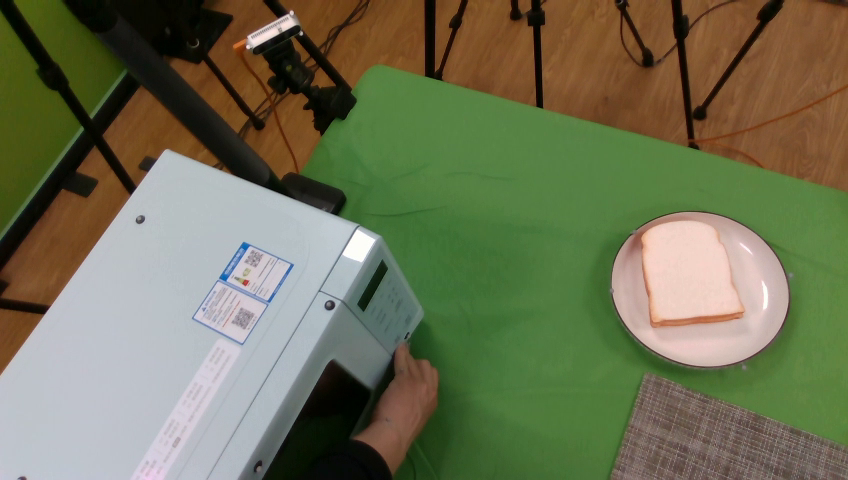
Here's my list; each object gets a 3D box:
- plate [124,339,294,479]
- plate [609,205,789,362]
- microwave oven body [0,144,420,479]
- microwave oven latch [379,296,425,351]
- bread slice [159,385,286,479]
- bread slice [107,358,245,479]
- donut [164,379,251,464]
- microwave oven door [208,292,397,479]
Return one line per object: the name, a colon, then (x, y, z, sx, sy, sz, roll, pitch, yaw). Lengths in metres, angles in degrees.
plate: (-0.254, 0.224, 0.730, 0.209, 0.038, 0.207, -3, 67, 8)
plate: (0.339, 0.055, 0.762, 0.207, 0.039, 0.206, -5, 64, 10)
microwave oven body: (-0.257, 0.166, 0.705, 0.324, 0.262, 0.440, 22, 72, 20)
microwave oven latch: (-0.032, 0.105, 0.795, 0.030, 0.030, 0.079, 33, 76, 23)
bread slice: (-0.253, 0.251, 0.747, 0.131, 0.019, 0.104, -31, 61, -32)
bread slice: (-0.271, 0.202, 0.684, 0.106, 0.018, 0.134, 32, 68, 13)
donut: (-0.251, 0.211, 0.708, 0.099, 0.048, 0.098, 1, 60, -1)
microwave oven door: (-0.150, 0.248, 0.638, 0.039, 0.246, 0.354, 21, 71, 21)
